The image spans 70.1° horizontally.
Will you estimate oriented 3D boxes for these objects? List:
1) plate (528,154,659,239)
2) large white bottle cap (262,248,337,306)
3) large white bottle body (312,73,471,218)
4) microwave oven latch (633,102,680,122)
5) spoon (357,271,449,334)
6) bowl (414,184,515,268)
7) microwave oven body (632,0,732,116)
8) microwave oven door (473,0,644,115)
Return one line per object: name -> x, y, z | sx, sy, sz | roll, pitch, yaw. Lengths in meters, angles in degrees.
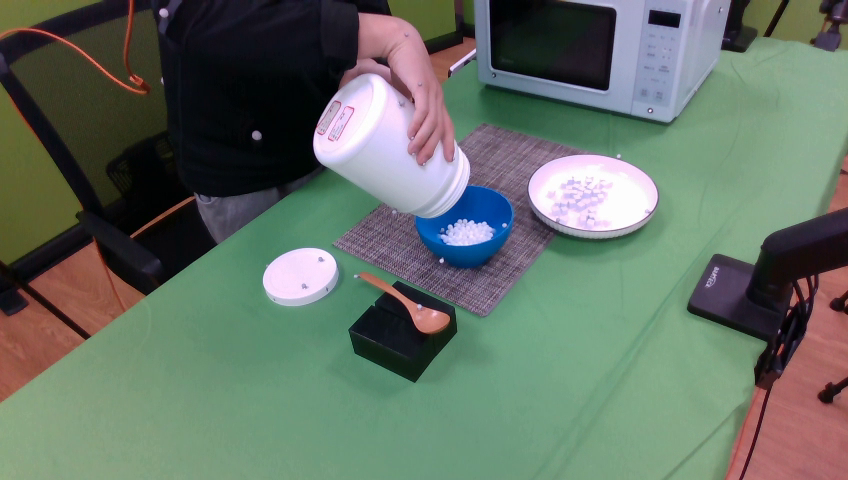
plate -> 0.274, -0.069, 0.993 | 0.209, 0.038, 0.208 | -2, 42, 2
large white bottle cap -> -0.193, 0.056, 0.934 | 0.115, 0.018, 0.114 | -5, 41, 4
large white bottle body -> -0.037, -0.116, 0.797 | 0.130, 0.186, 0.130 | -27, 47, 34
microwave oven latch -> 0.444, -0.249, 1.157 | 0.078, 0.029, 0.030 | 21, 49, 30
spoon -> -0.034, 0.078, 0.812 | 0.042, 0.022, 0.192 | -35, 42, -24
bowl -> 0.063, -0.010, 0.922 | 0.151, 0.077, 0.150 | -4, 40, 4
microwave oven body -> 0.377, -0.463, 1.267 | 0.438, 0.261, 0.327 | 21, 48, 30
microwave oven door -> 0.257, -0.396, 1.199 | 0.353, 0.245, 0.039 | 21, 48, 29
